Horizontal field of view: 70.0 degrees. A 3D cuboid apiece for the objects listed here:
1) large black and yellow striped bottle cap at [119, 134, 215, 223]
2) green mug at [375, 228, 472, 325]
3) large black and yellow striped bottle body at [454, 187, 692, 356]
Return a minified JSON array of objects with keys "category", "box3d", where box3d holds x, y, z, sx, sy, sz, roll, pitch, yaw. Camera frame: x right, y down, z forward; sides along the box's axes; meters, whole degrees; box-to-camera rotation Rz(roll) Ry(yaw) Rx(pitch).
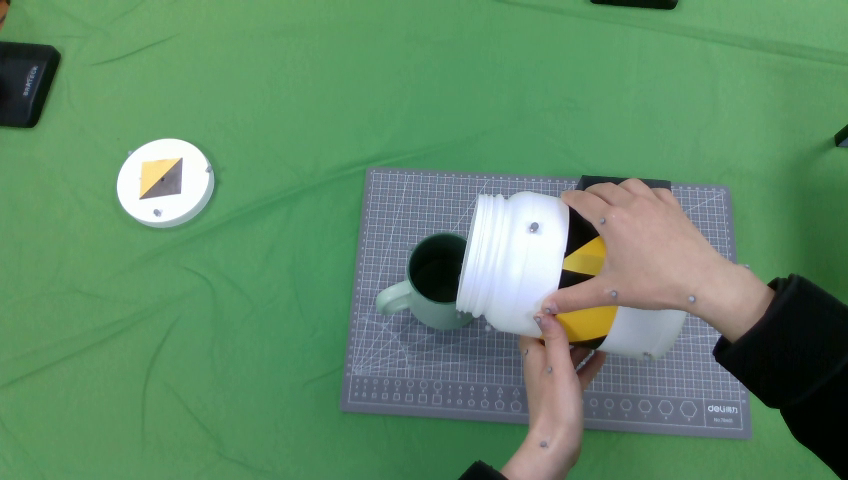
[{"category":"large black and yellow striped bottle cap","box3d":[-0.320,-0.078,0.753,0.115,0.019,0.114,0,71,1]},{"category":"green mug","box3d":[0.006,0.047,0.659,0.125,0.105,0.092,-21,73,-6]},{"category":"large black and yellow striped bottle body","box3d":[0.127,0.025,0.547,0.184,0.131,0.130,11,72,1]}]
